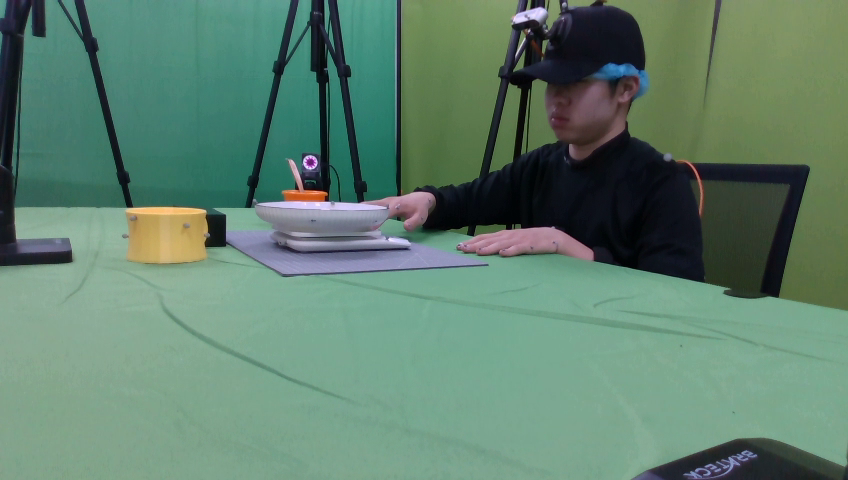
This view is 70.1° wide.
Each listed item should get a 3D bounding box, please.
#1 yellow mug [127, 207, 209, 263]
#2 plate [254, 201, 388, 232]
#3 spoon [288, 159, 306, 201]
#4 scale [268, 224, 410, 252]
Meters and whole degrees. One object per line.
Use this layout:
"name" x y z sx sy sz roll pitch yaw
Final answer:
"yellow mug" -0.339 -0.010 0.827 0.100 0.064 0.131 5 7 17
"plate" -0.161 -0.038 0.961 0.209 0.038 0.209 2 6 0
"spoon" -0.260 -0.103 1.268 0.042 0.193 0.021 3 -39 -33
"scale" -0.137 -0.006 0.980 0.202 0.031 0.148 -1 8 -30
